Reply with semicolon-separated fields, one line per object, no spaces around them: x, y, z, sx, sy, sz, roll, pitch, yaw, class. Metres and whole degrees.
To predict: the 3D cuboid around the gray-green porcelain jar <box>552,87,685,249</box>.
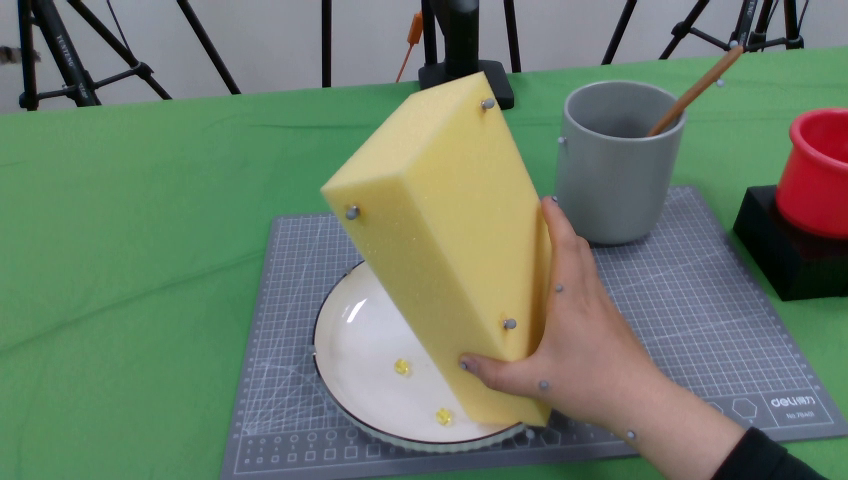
0.178;-0.064;0.573;0.106;0.127;0.105;-2;42;2;gray-green porcelain jar

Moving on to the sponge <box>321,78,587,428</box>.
0.035;0.015;0.406;0.060;0.209;0.117;-8;36;37;sponge

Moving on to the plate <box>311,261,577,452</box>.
0.016;0.080;0.489;0.207;0.039;0.205;-2;42;2;plate

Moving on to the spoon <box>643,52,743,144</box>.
0.206;-0.087;0.541;0.022;0.194;0.041;27;38;-7;spoon
